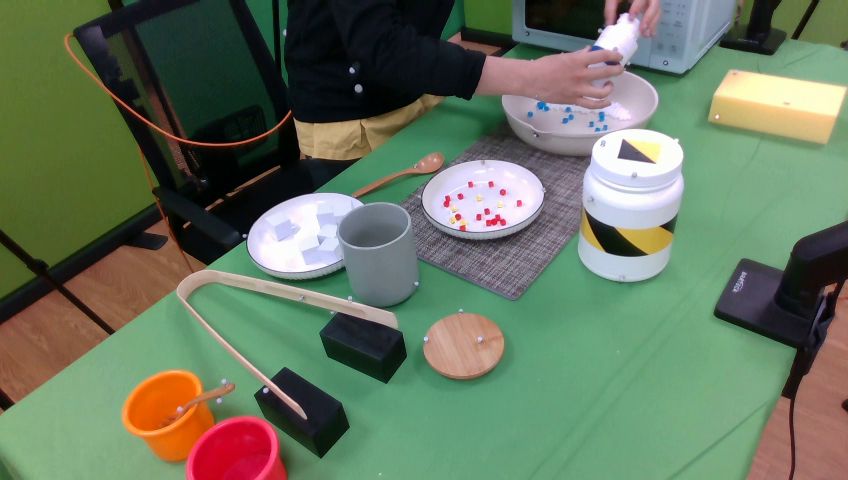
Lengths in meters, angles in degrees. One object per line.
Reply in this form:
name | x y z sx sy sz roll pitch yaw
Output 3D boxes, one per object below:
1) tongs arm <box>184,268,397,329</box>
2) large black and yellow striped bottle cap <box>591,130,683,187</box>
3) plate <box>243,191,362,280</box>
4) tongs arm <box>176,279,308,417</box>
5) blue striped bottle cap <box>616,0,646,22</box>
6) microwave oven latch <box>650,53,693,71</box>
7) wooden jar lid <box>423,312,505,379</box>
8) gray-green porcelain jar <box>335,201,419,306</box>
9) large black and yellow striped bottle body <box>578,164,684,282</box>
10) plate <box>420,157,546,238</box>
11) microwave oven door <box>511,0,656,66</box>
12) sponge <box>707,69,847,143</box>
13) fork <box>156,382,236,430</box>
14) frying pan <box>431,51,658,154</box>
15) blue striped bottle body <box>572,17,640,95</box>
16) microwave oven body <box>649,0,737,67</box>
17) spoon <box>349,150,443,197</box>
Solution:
tongs arm | -0.202 0.084 0.848 0.382 0.027 0.051 11 44 35
large black and yellow striped bottle cap | 0.282 -0.111 0.803 0.115 0.019 0.114 -3 41 3
plate | -0.188 -0.005 0.992 0.207 0.039 0.206 -4 40 3
tongs arm | -0.255 0.132 0.801 0.028 0.028 0.384 -41 40 -23
blue striped bottle cap | 0.341 -0.380 1.000 0.045 0.020 0.044 6 45 -5
microwave oven latch | 0.531 -0.386 1.301 0.078 0.029 0.030 26 51 33
wooden jar lid | 0.053 0.142 0.800 0.108 0.021 0.108 -5 39 4
gray-green porcelain jar | -0.064 0.024 0.872 0.106 0.127 0.105 -4 41 4
large black and yellow striped bottle body | 0.292 -0.046 0.859 0.131 0.185 0.130 -4 41 4
plate | 0.099 -0.067 1.017 0.209 0.038 0.208 -4 40 4
microwave oven door | 0.351 -0.540 1.349 0.353 0.245 0.039 24 50 31
sponge | 0.663 -0.256 1.142 0.205 0.061 0.118 18 47 28
fork | -0.262 0.189 0.690 0.018 0.206 0.028 48 43 -7
frying pan | 0.216 -0.302 1.223 0.484 0.103 0.308 29 50 24
blue striped bottle body | 0.304 -0.306 0.998 0.121 0.063 0.062 -54 49 6
microwave oven body | 0.475 -0.602 1.411 0.438 0.261 0.327 23 50 32
spoon | -0.051 -0.123 1.120 0.194 0.022 0.041 -22 60 -18
